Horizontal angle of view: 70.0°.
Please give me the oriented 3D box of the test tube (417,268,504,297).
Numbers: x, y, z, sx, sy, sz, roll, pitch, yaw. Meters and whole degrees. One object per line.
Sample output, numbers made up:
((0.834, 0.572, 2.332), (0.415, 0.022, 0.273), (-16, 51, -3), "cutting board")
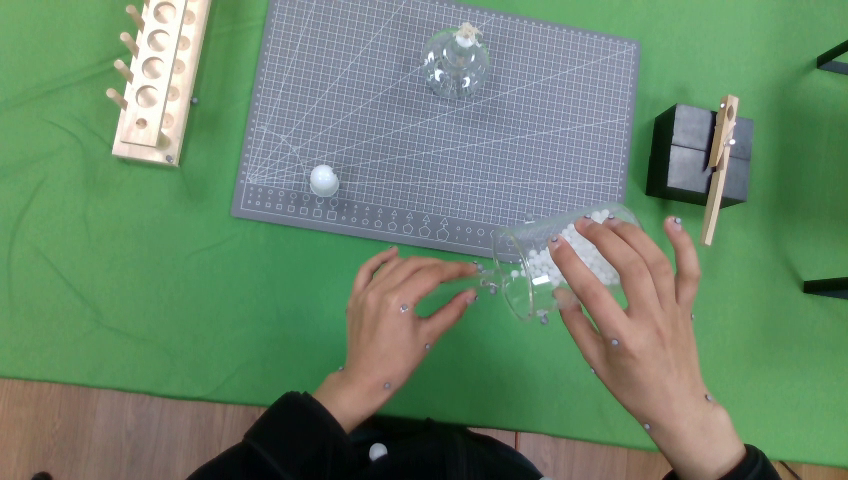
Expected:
((0.029, 0.040, 0.558), (0.017, 0.150, 0.017), (4, 80, -24), "test tube")

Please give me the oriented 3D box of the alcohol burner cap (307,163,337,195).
((-0.113, -0.069, 0.664), (0.034, 0.048, 0.034), (1, 84, -8), "alcohol burner cap")

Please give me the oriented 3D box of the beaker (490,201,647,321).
((0.109, 0.014, 0.463), (0.100, 0.084, 0.074), (-14, 84, -11), "beaker")

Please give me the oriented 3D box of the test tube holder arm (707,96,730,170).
((0.342, -0.123, 0.704), (0.010, 0.015, 0.087), (12, 83, -4), "test tube holder arm")

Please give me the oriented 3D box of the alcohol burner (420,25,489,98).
((0.036, -0.202, 0.664), (0.078, 0.119, 0.077), (1, 84, -6), "alcohol burner")

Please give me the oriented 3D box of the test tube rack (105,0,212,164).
((-0.279, -0.211, 0.635), (0.067, 0.085, 0.241), (9, 83, -7), "test tube rack")

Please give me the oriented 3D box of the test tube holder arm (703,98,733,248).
((0.340, -0.078, 0.699), (0.013, 0.015, 0.178), (10, 84, -4), "test tube holder arm")
